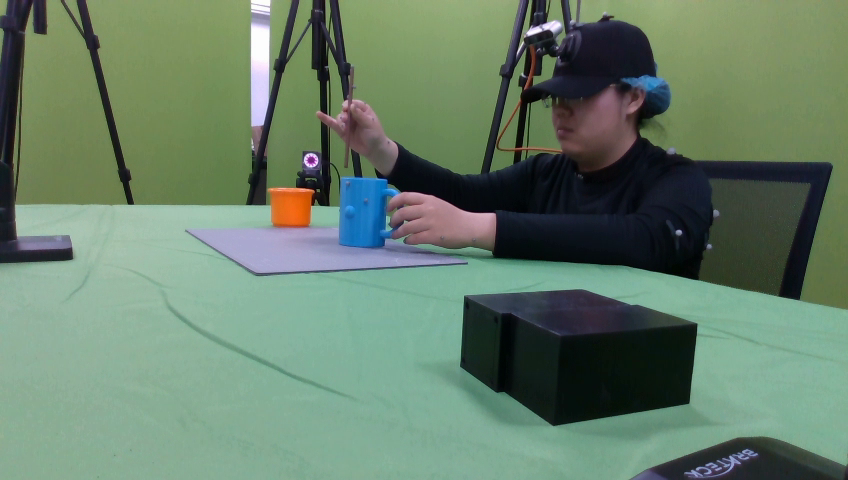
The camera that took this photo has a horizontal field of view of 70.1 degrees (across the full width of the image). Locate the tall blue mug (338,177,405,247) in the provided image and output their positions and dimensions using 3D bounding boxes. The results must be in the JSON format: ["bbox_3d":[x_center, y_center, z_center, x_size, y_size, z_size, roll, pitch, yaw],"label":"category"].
[{"bbox_3d":[-0.083,-0.046,0.977,0.107,0.108,0.078,3,6,-1],"label":"tall blue mug"}]

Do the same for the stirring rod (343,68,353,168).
[{"bbox_3d":[-0.133,-0.214,1.058,0.006,0.176,0.014,3,-3,2],"label":"stirring rod"}]
